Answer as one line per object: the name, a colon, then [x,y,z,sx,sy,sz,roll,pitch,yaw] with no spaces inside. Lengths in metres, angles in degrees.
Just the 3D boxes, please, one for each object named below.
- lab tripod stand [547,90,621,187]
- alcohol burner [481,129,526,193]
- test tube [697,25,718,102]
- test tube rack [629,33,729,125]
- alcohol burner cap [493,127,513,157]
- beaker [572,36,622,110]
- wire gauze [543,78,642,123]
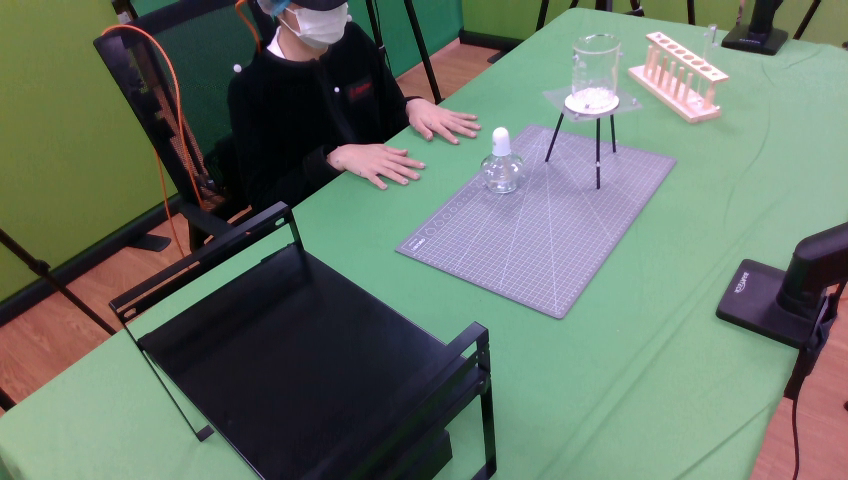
lab tripod stand: [0.289,-0.184,1.062,0.148,0.132,0.147,-6,41,6]
alcohol burner: [0.138,-0.142,1.052,0.078,0.119,0.077,-5,42,5]
test tube: [0.546,-0.337,1.166,0.017,0.151,0.017,-5,36,4]
test tube rack: [0.516,-0.337,1.248,0.067,0.085,0.240,-14,41,-7]
alcohol burner cap: [0.132,-0.169,1.030,0.034,0.048,0.033,-6,36,5]
beaker: [0.279,-0.273,0.992,0.074,0.101,0.083,-14,40,-5]
wire gauze: [0.282,-0.234,1.022,0.125,0.011,0.120,-17,38,-4]
